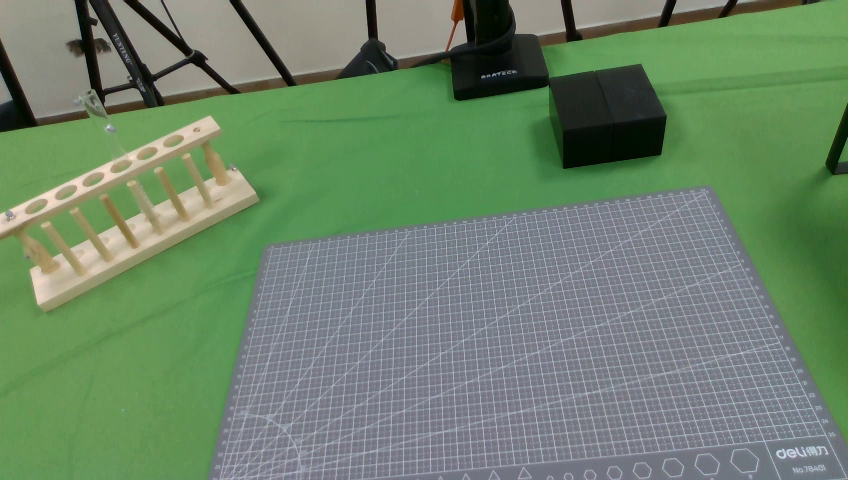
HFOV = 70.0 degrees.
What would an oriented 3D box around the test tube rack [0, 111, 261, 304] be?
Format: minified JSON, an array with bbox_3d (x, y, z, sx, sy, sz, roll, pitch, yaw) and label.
[{"bbox_3d":[-0.308,-0.038,0.643,0.242,0.086,0.066,-30,48,-16],"label":"test tube rack"}]

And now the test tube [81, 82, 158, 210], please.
[{"bbox_3d":[-0.309,-0.091,0.624,0.017,0.152,0.017,-5,42,5],"label":"test tube"}]
